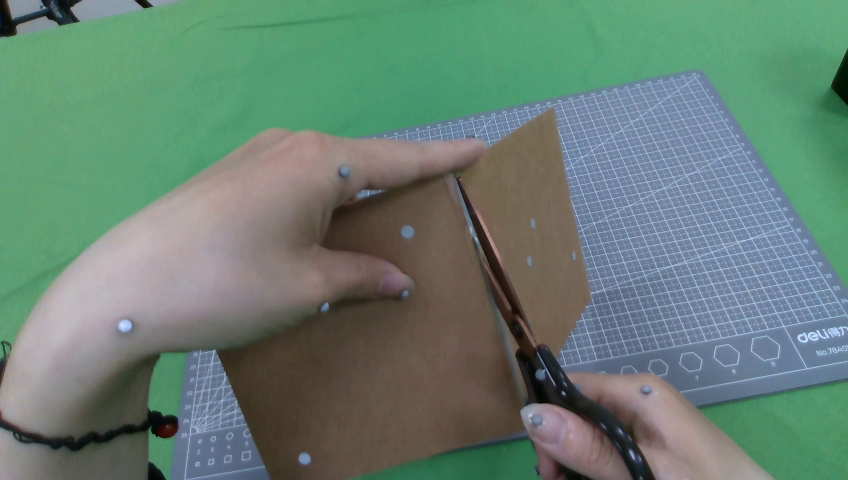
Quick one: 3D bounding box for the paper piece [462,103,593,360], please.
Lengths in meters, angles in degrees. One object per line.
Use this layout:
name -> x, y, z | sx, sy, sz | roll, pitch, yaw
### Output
paper piece -> 0.068, 0.001, 0.344 | 0.004, 0.136, 0.135 | -8, 19, 32

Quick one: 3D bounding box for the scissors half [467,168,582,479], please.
scissors half -> 0.045, 0.050, 0.288 | 0.013, 0.176, 0.040 | -20, 12, -21

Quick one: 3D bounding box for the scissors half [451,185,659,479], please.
scissors half -> 0.052, 0.045, 0.266 | 0.013, 0.040, 0.173 | -19, 66, -25

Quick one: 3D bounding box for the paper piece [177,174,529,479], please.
paper piece -> -0.033, 0.051, 0.294 | 0.138, 0.136, 0.008 | -15, 9, 7
